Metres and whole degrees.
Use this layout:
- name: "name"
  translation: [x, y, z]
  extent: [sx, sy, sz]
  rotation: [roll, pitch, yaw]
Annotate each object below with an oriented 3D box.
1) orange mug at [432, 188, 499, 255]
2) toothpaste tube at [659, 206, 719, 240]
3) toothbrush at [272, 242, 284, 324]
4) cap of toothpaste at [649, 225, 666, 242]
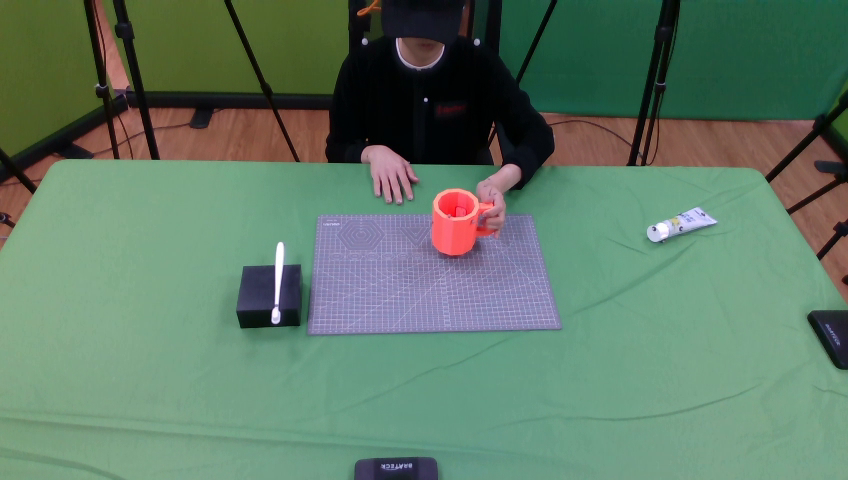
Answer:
- name: "orange mug"
  translation: [0.077, -0.037, 1.148]
  extent: [0.126, 0.101, 0.083]
  rotation: [-7, 47, -2]
- name: "toothpaste tube"
  translation: [0.542, -0.035, 1.259]
  extent: [0.165, 0.034, 0.054]
  rotation: [-19, 54, -26]
- name: "toothbrush"
  translation: [-0.253, 0.068, 1.048]
  extent: [0.014, 0.017, 0.180]
  rotation: [-5, 46, -4]
- name: "cap of toothpaste"
  translation: [0.473, -0.015, 1.226]
  extent: [0.011, 0.037, 0.037]
  rotation: [-19, 50, -26]
